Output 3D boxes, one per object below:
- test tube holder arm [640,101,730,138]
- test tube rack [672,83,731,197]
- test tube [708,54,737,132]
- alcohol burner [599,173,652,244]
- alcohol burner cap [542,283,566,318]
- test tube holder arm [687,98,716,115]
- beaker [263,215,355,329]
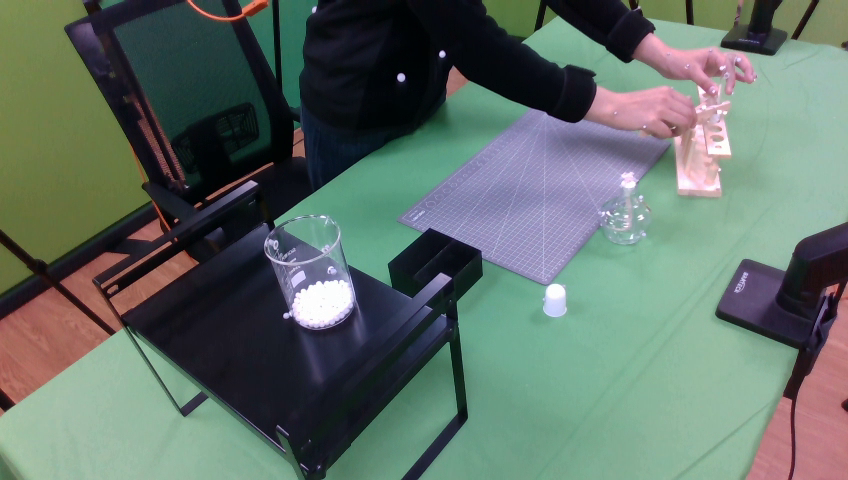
[{"bbox_3d":[0.419,-0.194,0.968,0.179,0.015,0.013,-20,32,-19],"label":"test tube holder arm"},{"bbox_3d":[0.483,-0.184,1.066,0.066,0.085,0.242,6,42,14],"label":"test tube rack"},{"bbox_3d":[0.487,-0.233,0.995,0.017,0.151,0.017,-2,42,3],"label":"test tube"},{"bbox_3d":[0.308,-0.052,0.919,0.078,0.119,0.077,-5,42,5],"label":"alcohol burner"},{"bbox_3d":[0.182,0.081,0.839,0.034,0.048,0.033,-3,40,3],"label":"alcohol burner cap"},{"bbox_3d":[0.453,-0.212,0.990,0.088,0.015,0.010,-31,38,-34],"label":"test tube holder arm"},{"bbox_3d":[-0.111,0.034,0.616,0.073,0.101,0.084,13,44,23],"label":"beaker"}]
